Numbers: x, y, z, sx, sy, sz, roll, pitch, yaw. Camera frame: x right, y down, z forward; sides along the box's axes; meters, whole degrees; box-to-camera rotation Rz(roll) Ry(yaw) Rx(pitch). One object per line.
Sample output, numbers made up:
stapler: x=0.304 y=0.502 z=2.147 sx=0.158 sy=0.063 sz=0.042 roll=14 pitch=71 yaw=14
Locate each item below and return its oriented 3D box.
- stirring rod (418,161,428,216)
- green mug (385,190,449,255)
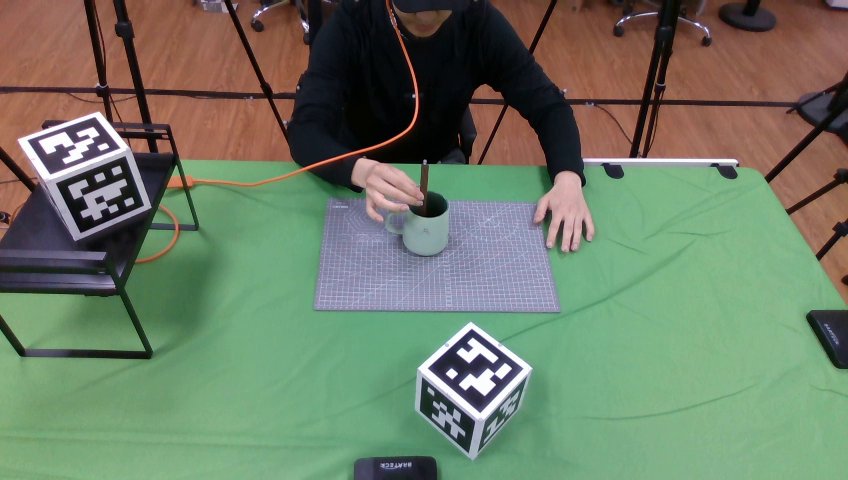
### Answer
stirring rod: x=-0.004 y=-0.068 z=1.106 sx=0.014 sy=0.177 sz=0.006 roll=15 pitch=42 yaw=12
green mug: x=-0.013 y=-0.033 z=1.166 sx=0.125 sy=0.105 sz=0.092 roll=2 pitch=46 yaw=-2
